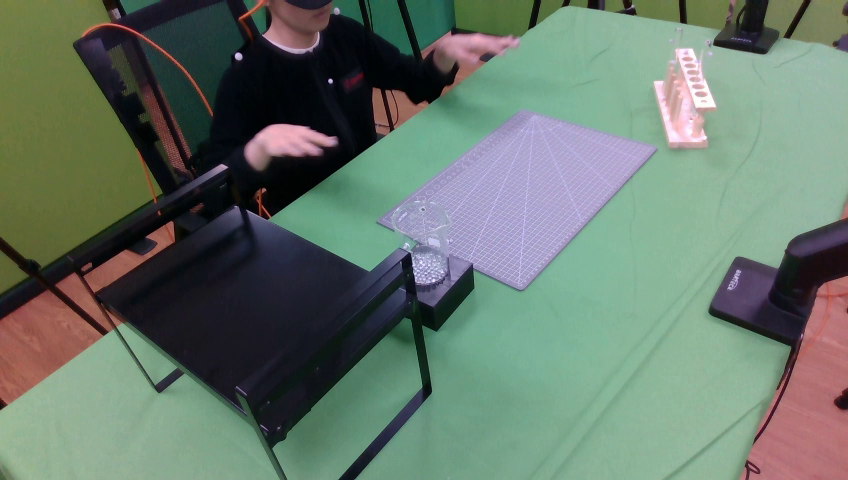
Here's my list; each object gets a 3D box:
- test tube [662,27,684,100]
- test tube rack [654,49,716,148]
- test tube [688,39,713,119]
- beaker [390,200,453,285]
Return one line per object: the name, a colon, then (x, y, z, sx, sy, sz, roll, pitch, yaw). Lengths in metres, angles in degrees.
test tube: (0.486, -0.342, 1.181, 0.017, 0.151, 0.017, -3, 42, 4)
test tube rack: (0.502, -0.281, 1.176, 0.066, 0.085, 0.241, 2, 41, 11)
test tube: (0.507, -0.292, 1.111, 0.017, 0.151, 0.017, -3, 37, 3)
beaker: (0.002, 0.006, 0.831, 0.084, 0.101, 0.074, 5, 42, 13)
